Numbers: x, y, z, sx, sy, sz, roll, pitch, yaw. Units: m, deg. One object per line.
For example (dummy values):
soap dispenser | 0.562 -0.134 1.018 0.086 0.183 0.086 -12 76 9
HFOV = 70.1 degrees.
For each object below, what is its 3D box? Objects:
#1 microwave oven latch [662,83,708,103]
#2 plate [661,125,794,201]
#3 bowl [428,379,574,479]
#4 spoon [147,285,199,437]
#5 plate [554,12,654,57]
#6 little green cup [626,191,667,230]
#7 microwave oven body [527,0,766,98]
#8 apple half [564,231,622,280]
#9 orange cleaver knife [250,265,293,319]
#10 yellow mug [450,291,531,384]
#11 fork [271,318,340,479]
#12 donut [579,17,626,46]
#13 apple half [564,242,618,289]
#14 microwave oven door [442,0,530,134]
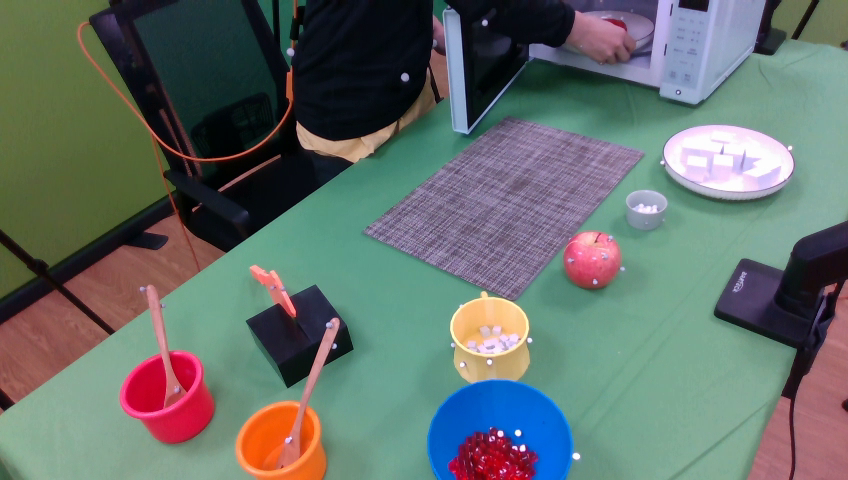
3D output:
microwave oven latch | 0.519 -0.297 1.204 0.030 0.029 0.078 -37 47 -29
plate | 0.514 -0.128 1.035 0.207 0.039 0.206 -4 40 4
bowl | 0.082 0.233 0.644 0.151 0.077 0.150 -4 39 4
spoon | -0.319 0.148 0.754 0.042 0.021 0.193 -14 85 -11
plate | 0.389 -0.444 1.317 0.209 0.038 0.208 -5 38 4
little green cup | 0.352 -0.046 0.963 0.061 0.039 0.061 -4 40 4
microwave oven body | 0.472 -0.513 1.317 0.438 0.261 0.327 25 51 34
apple half | 0.248 0.021 0.874 0.080 0.075 0.053 13 40 29
orange cleaver knife | -0.221 0.073 0.876 0.012 0.077 0.210 -24 13 -22
yellow mug | 0.085 0.120 0.786 0.100 0.064 0.130 -7 39 1
fork | -0.132 0.186 0.676 0.028 0.019 0.207 17 90 28
donut | 0.381 -0.444 1.295 0.099 0.048 0.098 -1 44 1
apple half | 0.229 0.044 0.848 0.081 0.081 0.033 16 41 26
microwave oven door | 0.139 -0.413 1.243 0.039 0.245 0.356 15 45 24
